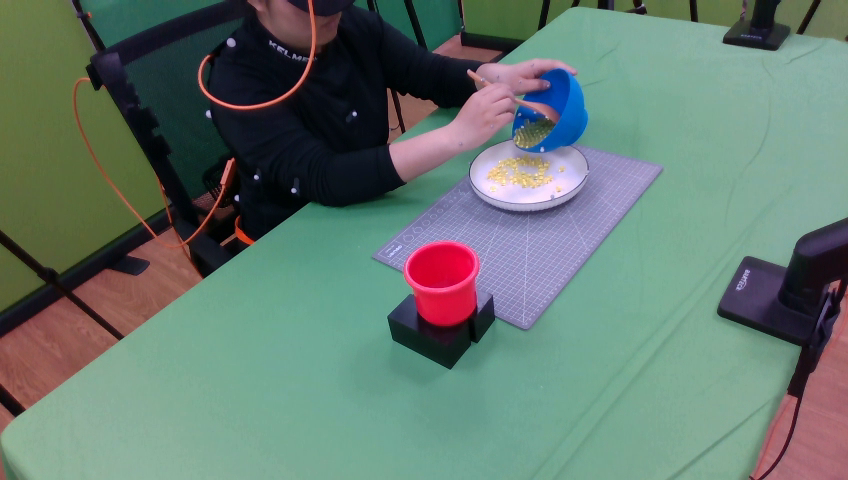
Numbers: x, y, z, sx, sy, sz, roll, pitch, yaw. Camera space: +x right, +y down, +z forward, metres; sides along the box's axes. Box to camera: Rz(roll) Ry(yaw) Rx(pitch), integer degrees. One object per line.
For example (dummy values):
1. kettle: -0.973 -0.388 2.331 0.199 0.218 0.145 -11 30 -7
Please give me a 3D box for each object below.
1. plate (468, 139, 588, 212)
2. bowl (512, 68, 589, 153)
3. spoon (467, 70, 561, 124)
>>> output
1. plate: 0.182 -0.111 1.064 0.207 0.039 0.206 -5 40 5
2. bowl: 0.230 -0.211 1.048 0.077 0.151 0.150 22 32 -26
3. spoon: 0.159 -0.244 1.042 0.194 0.021 0.041 22 41 -9
